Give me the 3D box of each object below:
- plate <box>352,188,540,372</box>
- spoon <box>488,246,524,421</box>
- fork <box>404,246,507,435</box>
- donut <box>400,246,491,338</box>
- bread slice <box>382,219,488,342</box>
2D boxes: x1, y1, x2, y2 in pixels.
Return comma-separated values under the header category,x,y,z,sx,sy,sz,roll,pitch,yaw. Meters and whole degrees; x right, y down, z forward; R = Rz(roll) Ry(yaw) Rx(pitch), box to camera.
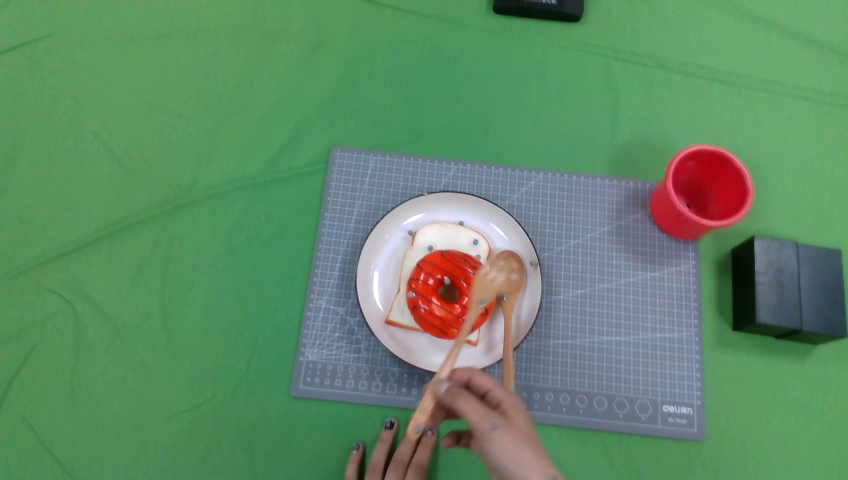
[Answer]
category,x,y,z,sx,sy,sz,roll,pitch,yaw
plate,0.024,0.045,0.678,0.209,0.038,0.208,1,73,-3
spoon,0.087,0.095,0.650,0.041,0.022,0.192,4,60,3
fork,0.031,0.084,0.551,0.028,0.019,0.206,34,54,-4
donut,0.023,0.055,0.646,0.099,0.048,0.098,1,77,-5
bread slice,0.018,0.039,0.681,0.105,0.019,0.131,13,73,0
